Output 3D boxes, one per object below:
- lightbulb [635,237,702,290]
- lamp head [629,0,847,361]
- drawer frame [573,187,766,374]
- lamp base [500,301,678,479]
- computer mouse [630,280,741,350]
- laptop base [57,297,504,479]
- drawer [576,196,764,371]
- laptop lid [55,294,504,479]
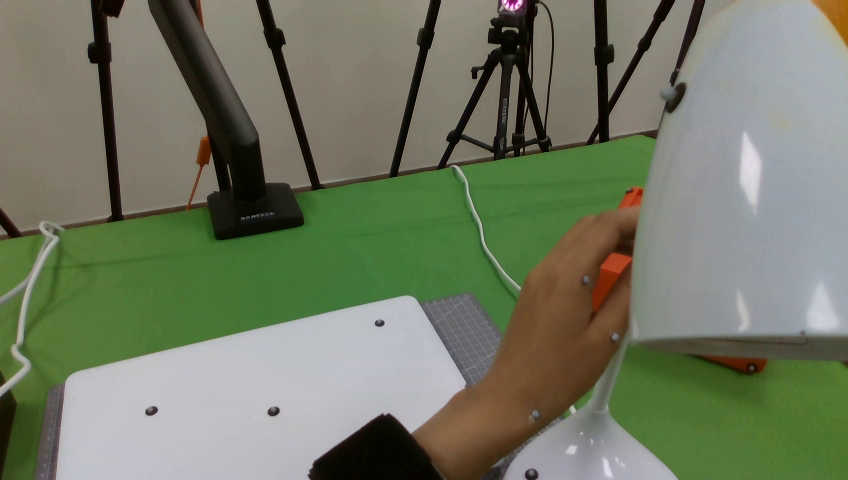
[{"bbox_3d":[0.297,0.033,0.730,0.059,0.060,0.107,-4,17,-8],"label":"lightbulb"},{"bbox_3d":[0.125,-0.019,0.204,0.112,0.113,0.122,3,73,3],"label":"lamp head"},{"bbox_3d":[0.306,0.033,0.713,0.200,0.083,0.213,17,35,23],"label":"drawer frame"},{"bbox_3d":[0.136,0.147,0.439,0.161,0.181,0.177,0,33,-4],"label":"lamp base"},{"bbox_3d":[0.288,0.079,0.668,0.117,0.041,0.062,17,35,14],"label":"computer mouse"},{"bbox_3d":[-0.134,0.164,0.552,0.355,0.023,0.232,-11,39,-19],"label":"laptop base"},{"bbox_3d":[0.305,0.036,0.711,0.193,0.074,0.211,17,35,23],"label":"drawer"},{"bbox_3d":[-0.133,0.155,0.544,0.358,0.013,0.239,-11,37,-18],"label":"laptop lid"}]
